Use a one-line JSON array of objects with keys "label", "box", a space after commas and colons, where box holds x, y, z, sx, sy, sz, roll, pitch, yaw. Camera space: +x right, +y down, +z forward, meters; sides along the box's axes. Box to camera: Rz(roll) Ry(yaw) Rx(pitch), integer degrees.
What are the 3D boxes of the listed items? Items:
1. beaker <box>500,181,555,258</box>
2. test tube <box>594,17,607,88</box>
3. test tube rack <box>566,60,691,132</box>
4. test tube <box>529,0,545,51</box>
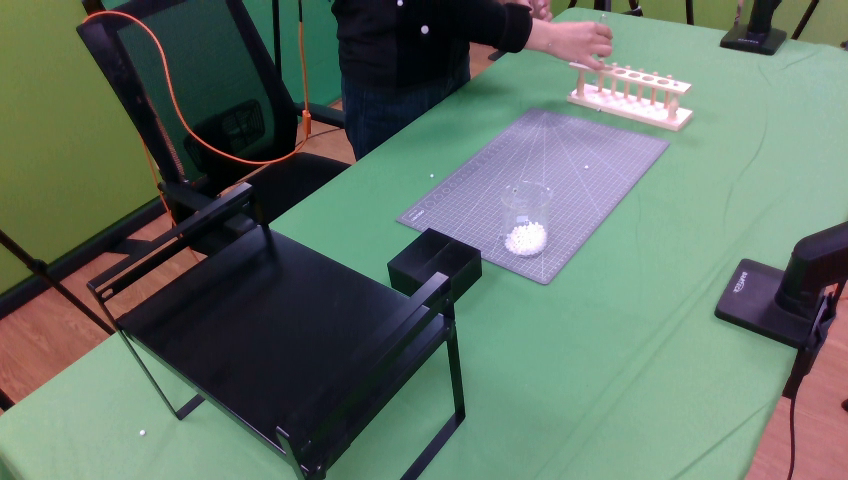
[{"label": "beaker", "box": [0.158, -0.030, 0.923, 0.084, 0.100, 0.073, -13, 41, -8]}, {"label": "test tube", "box": [0.359, -0.378, 1.228, 0.017, 0.151, 0.017, -5, 42, 5]}, {"label": "test tube rack", "box": [0.411, -0.299, 1.217, 0.240, 0.085, 0.067, 26, 51, 33]}, {"label": "test tube", "box": [0.222, -0.439, 1.195, 0.017, 0.151, 0.017, -11, 49, 13]}]
